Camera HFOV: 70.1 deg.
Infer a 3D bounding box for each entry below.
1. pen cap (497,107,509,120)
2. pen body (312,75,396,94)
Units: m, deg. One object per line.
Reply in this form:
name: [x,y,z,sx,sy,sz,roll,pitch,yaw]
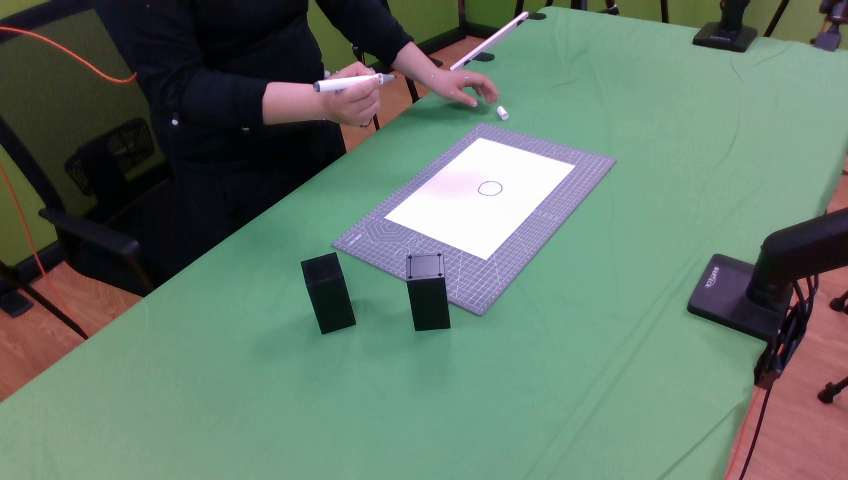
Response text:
pen cap: [0.164,-0.264,1.261,0.017,0.017,0.038,-14,40,-7]
pen body: [-0.102,-0.237,0.916,0.145,0.017,0.016,-18,39,-33]
